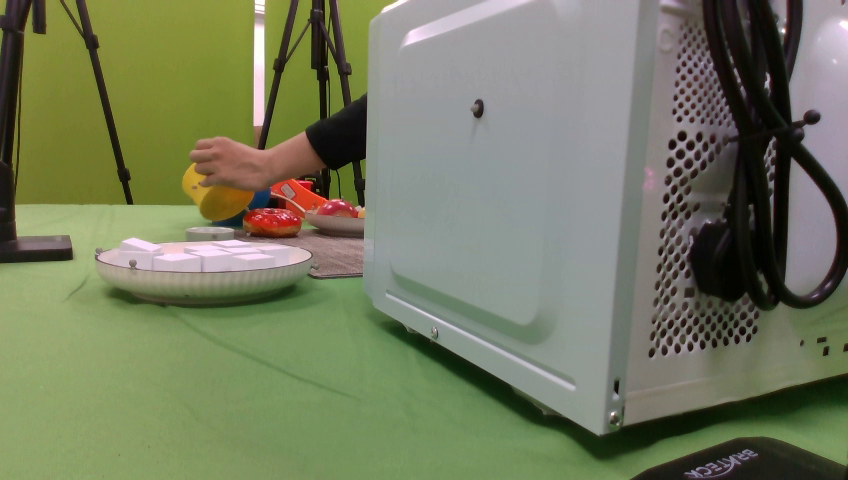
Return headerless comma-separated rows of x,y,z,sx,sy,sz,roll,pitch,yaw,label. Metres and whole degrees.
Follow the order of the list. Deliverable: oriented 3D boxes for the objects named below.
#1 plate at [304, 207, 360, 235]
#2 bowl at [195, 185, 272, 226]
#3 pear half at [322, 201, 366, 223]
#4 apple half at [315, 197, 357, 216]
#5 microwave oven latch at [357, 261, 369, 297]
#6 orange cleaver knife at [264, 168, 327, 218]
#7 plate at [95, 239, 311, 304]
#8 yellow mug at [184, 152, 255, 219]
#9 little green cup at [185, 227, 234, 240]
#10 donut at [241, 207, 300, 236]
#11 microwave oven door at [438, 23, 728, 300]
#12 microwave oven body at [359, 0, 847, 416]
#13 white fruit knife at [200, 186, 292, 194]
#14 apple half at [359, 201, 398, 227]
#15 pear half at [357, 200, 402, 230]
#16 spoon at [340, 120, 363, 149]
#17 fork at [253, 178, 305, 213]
-0.123,-0.037,1.149,0.209,0.038,0.209,2,7,0,plate
-0.381,-0.071,1.202,0.151,0.077,0.151,3,7,0,bowl
-0.157,-0.059,1.197,0.088,0.031,0.070,11,30,-4,pear half
-0.162,-0.053,1.121,0.081,0.053,0.074,5,7,-14,apple half
-0.019,0.033,0.530,0.079,0.029,0.030,-1,7,-26,microwave oven latch
-0.262,-0.088,1.352,0.211,0.077,0.012,28,13,0,orange cleaver knife
-0.224,0.031,0.629,0.208,0.039,0.207,2,8,0,plate
-0.353,-0.103,1.036,0.100,0.131,0.064,-34,68,-24,yellow mug
-0.285,0.005,0.805,0.061,0.038,0.061,2,8,0,little green cup
-0.263,-0.031,1.039,0.099,0.048,0.099,5,9,0,donut
0.181,-0.073,0.621,0.358,0.243,0.039,-2,8,-29,microwave oven door
0.211,-0.047,0.474,0.444,0.260,0.324,-1,7,-28,microwave oven body
-0.399,-0.111,1.368,0.208,0.016,0.027,-4,-19,-30,white fruit knife
-0.088,-0.058,1.190,0.081,0.033,0.081,9,29,-5,apple half
-0.075,-0.046,1.132,0.076,0.056,0.110,12,7,31,pear half
-0.145,-0.247,1.355,0.041,0.021,0.193,9,37,7,spoon
-0.295,-0.083,1.292,0.206,0.018,0.028,29,10,25,fork
